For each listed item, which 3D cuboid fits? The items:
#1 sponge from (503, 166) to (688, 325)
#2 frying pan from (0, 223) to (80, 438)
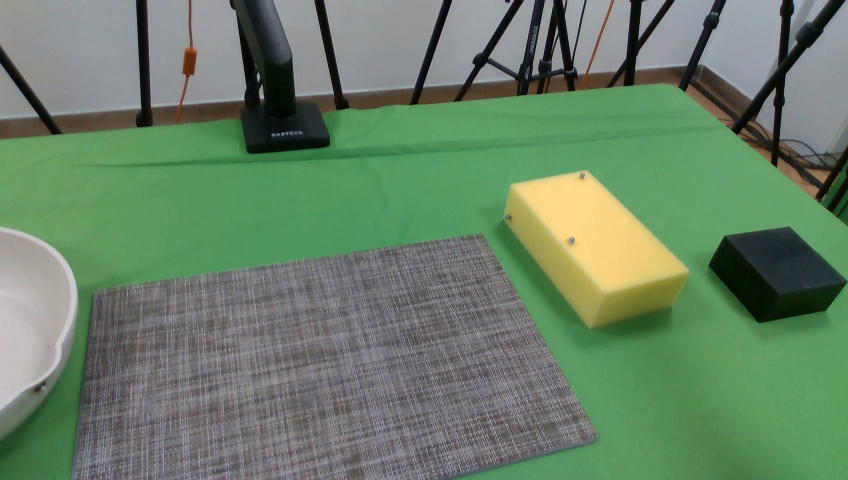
[{"bbox_3d":[0.200,-0.002,0.739,0.118,0.061,0.204,-12,45,-20],"label":"sponge"},{"bbox_3d":[-0.478,0.153,0.449,0.306,0.103,0.484,11,33,6],"label":"frying pan"}]
